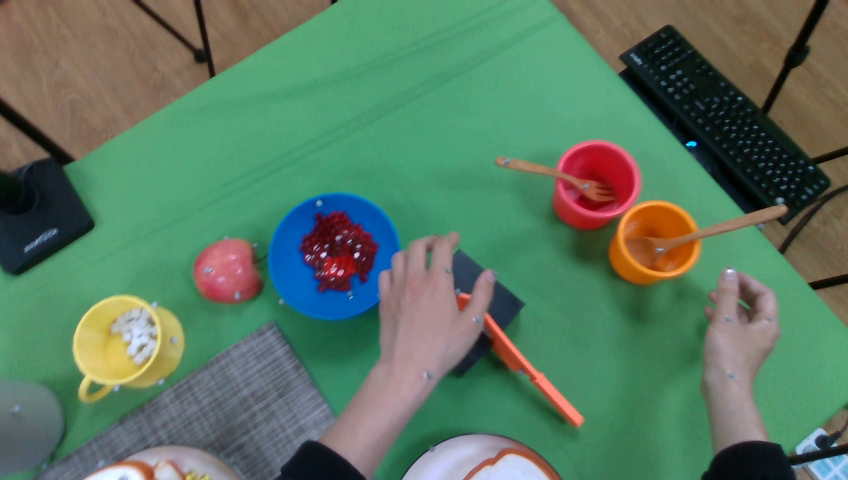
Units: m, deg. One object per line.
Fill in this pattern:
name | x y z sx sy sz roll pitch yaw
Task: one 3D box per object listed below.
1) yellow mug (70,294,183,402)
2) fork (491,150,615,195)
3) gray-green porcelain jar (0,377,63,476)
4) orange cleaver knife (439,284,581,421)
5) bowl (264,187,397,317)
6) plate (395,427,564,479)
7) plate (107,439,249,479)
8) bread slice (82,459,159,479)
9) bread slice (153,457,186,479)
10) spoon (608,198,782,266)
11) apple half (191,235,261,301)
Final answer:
yellow mug | -0.350 0.130 0.699 0.099 0.064 0.130 31 78 9
fork | 0.155 -0.079 0.703 0.209 0.018 0.028 9 68 -39
gray-green porcelain jar | -0.468 0.201 0.650 0.106 0.127 0.105 0 74 1
orange cleaver knife | 0.095 0.125 0.682 0.212 0.077 0.012 47 72 -9
bowl | -0.104 0.023 0.716 0.151 0.077 0.150 0 75 1
plate | 0.060 0.309 0.656 0.209 0.038 0.208 0 75 2
plate | -0.275 0.322 0.655 0.208 0.039 0.206 0 75 1
bread slice | -0.284 0.278 0.574 0.105 0.019 0.131 -28 87 2
bread slice | -0.272 0.317 0.656 0.134 0.018 0.107 36 79 8
spoon | 0.297 -0.010 0.681 0.022 0.193 0.041 6 69 -43
apple half | -0.243 0.031 0.730 0.075 0.053 0.080 -13 75 0
